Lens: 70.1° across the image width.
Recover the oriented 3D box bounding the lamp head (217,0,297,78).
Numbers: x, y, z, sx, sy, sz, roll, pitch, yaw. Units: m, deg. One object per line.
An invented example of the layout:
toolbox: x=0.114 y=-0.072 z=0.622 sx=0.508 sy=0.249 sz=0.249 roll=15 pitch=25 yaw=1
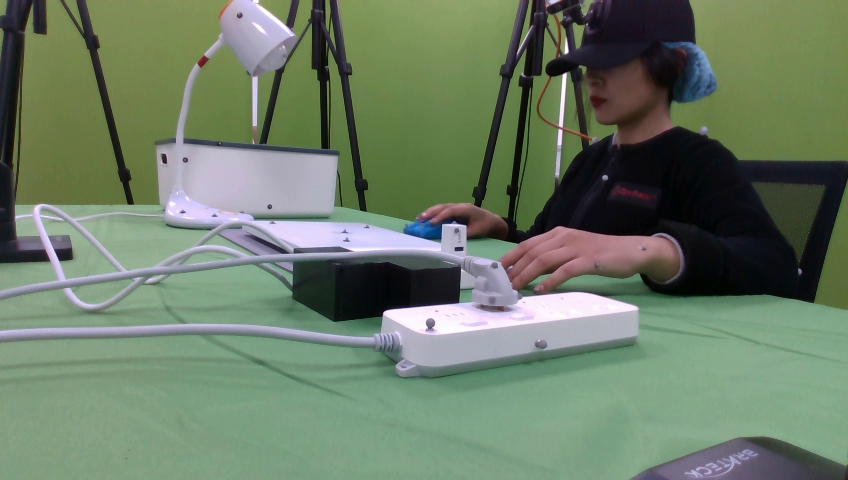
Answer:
lamp head: x=-0.315 y=-0.372 z=1.102 sx=0.123 sy=0.112 sz=0.112 roll=41 pitch=3 yaw=-9

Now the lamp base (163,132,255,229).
lamp base: x=-0.420 y=-0.116 z=1.156 sx=0.179 sy=0.180 sz=0.160 roll=0 pitch=7 yaw=0

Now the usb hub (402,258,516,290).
usb hub: x=0.042 y=0.038 z=0.690 sx=0.126 sy=0.025 sz=0.049 roll=-2 pitch=9 yaw=-30

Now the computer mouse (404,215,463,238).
computer mouse: x=0.022 y=-0.025 z=1.145 sx=0.118 sy=0.041 sz=0.062 roll=-6 pitch=13 yaw=-34

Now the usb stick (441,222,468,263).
usb stick: x=0.034 y=0.009 z=0.685 sx=0.021 sy=0.059 sz=0.027 roll=-3 pitch=10 yaw=-31

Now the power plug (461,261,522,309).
power plug: x=0.043 y=0.043 z=0.444 sx=0.035 sy=0.052 sz=0.073 roll=-5 pitch=8 yaw=44

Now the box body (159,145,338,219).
box body: x=-0.410 y=-0.139 z=1.414 sx=0.366 sy=0.160 sz=0.253 roll=-3 pitch=8 yaw=-33

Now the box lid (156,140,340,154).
box lid: x=-0.409 y=-0.213 z=1.404 sx=0.373 sy=0.015 sz=0.262 roll=-2 pitch=8 yaw=-32

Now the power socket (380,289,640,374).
power socket: x=0.072 y=0.064 z=0.461 sx=0.228 sy=0.032 sz=0.072 roll=-3 pitch=7 yaw=-30

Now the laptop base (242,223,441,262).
laptop base: x=-0.126 y=0.003 z=0.945 sx=0.237 sy=0.023 sz=0.352 roll=2 pitch=6 yaw=-31

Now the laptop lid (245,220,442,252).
laptop lid: x=-0.124 y=-0.009 z=0.945 sx=0.243 sy=0.013 sz=0.355 roll=1 pitch=7 yaw=-29

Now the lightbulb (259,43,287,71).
lightbulb: x=-0.295 y=-0.357 z=1.102 sx=0.059 sy=0.107 sz=0.059 roll=-38 pitch=1 yaw=1
